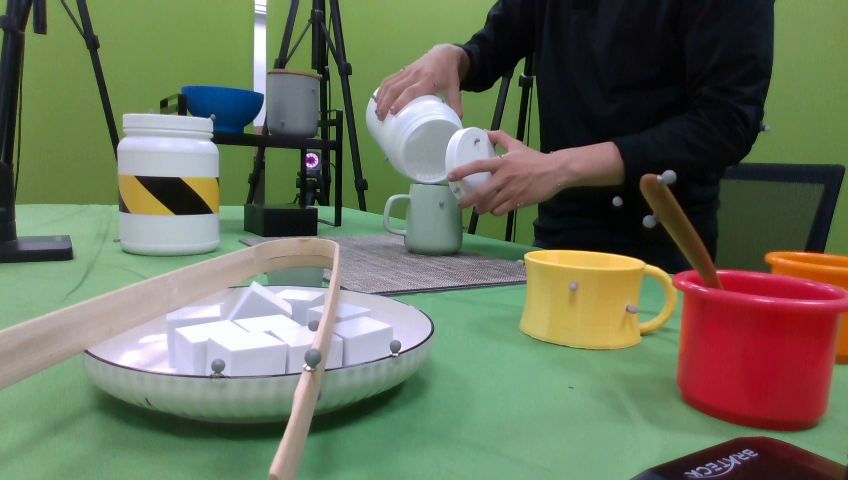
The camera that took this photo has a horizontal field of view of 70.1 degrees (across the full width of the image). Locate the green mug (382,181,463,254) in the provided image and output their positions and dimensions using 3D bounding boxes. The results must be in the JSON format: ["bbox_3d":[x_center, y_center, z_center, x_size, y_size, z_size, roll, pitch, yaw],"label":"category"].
[{"bbox_3d":[-0.001,-0.036,0.921,0.126,0.105,0.092,0,8,-15],"label":"green mug"}]

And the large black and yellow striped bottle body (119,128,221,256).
[{"bbox_3d":[-0.355,-0.076,0.850,0.131,0.184,0.130,2,8,0],"label":"large black and yellow striped bottle body"}]

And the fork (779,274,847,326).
[{"bbox_3d":[0.332,0.019,0.443,0.028,0.018,0.207,-3,-35,-16],"label":"fork"}]

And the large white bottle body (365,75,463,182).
[{"bbox_3d":[-0.014,-0.182,0.993,0.131,0.130,0.184,-1,31,-22],"label":"large white bottle body"}]

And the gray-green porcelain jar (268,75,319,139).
[{"bbox_3d":[-0.277,-0.279,1.280,0.106,0.126,0.106,2,8,0],"label":"gray-green porcelain jar"}]

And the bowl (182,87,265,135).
[{"bbox_3d":[-0.383,-0.243,1.158,0.151,0.077,0.151,2,7,0],"label":"bowl"}]

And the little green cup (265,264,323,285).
[{"bbox_3d":[-0.134,0.033,0.628,0.061,0.038,0.061,3,7,0],"label":"little green cup"}]

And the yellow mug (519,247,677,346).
[{"bbox_3d":[0.148,0.045,0.513,0.131,0.064,0.100,3,7,0],"label":"yellow mug"}]

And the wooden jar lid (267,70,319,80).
[{"bbox_3d":[-0.275,-0.339,1.271,0.108,0.020,0.108,5,6,0],"label":"wooden jar lid"}]

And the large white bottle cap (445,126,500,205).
[{"bbox_3d":[0.072,-0.108,0.879,0.018,0.114,0.115,-2,3,40],"label":"large white bottle cap"}]

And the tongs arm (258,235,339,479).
[{"bbox_3d":[-0.074,0.040,0.345,0.051,0.026,0.384,-1,10,-3],"label":"tongs arm"}]

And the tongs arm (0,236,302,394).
[{"bbox_3d":[-0.157,0.038,0.347,0.028,0.028,0.388,-3,8,11],"label":"tongs arm"}]

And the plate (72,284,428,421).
[{"bbox_3d":[-0.102,0.067,0.381,0.208,0.039,0.207,3,7,0],"label":"plate"}]

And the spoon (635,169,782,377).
[{"bbox_3d":[0.161,0.026,0.346,0.021,0.194,0.041,-51,32,-19],"label":"spoon"}]

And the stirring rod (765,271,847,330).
[{"bbox_3d":[0.352,0.020,0.481,0.176,0.006,0.014,-40,-8,17],"label":"stirring rod"}]

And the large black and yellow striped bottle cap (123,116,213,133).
[{"bbox_3d":[-0.353,-0.159,0.838,0.115,0.019,0.115,2,6,0],"label":"large black and yellow striped bottle cap"}]
